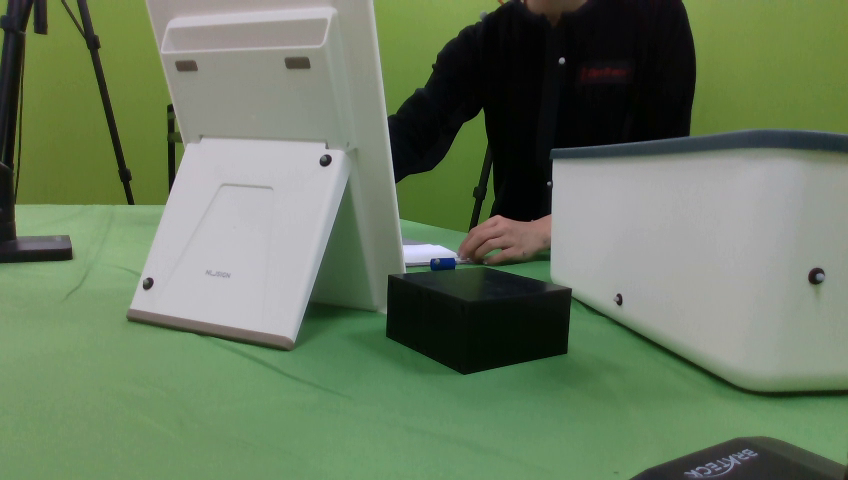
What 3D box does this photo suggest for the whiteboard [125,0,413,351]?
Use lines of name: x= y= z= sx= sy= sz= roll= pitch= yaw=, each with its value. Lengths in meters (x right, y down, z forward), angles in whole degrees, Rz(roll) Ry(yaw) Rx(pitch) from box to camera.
whiteboard: x=-0.151 y=-0.050 z=0.471 sx=0.216 sy=0.305 sz=0.144 roll=6 pitch=27 yaw=24

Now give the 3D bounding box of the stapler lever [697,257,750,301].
stapler lever: x=0.290 y=0.035 z=0.580 sx=0.026 sy=0.040 sz=0.119 roll=29 pitch=19 yaw=34

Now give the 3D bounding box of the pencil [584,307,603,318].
pencil: x=0.250 y=0.054 z=0.656 sx=0.195 sy=0.012 sz=0.012 roll=-14 pitch=14 yaw=-26

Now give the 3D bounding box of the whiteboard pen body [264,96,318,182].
whiteboard pen body: x=-0.136 y=-0.105 z=0.618 sx=0.017 sy=0.017 sz=0.140 roll=4 pitch=46 yaw=12

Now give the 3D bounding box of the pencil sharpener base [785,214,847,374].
pencil sharpener base: x=0.322 y=0.038 z=0.441 sx=0.077 sy=0.107 sz=0.061 roll=1 pitch=8 yaw=-18

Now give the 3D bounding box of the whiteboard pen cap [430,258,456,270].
whiteboard pen cap: x=0.024 y=0.031 z=0.790 sx=0.033 sy=0.018 sz=0.018 roll=1 pitch=8 yaw=-12

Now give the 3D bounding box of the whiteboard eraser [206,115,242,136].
whiteboard eraser: x=-0.438 y=-0.249 z=1.320 sx=0.056 sy=0.042 sz=0.112 roll=-3 pitch=9 yaw=-30

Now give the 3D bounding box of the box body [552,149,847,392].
box body: x=0.290 y=0.002 z=0.549 sx=0.255 sy=0.160 sz=0.363 roll=2 pitch=7 yaw=-10

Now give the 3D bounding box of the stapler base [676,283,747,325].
stapler base: x=0.283 y=0.057 z=0.585 sx=0.041 sy=0.024 sz=0.131 roll=29 pitch=18 yaw=34

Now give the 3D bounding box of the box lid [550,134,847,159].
box lid: x=0.294 y=-0.071 z=0.538 sx=0.264 sy=0.015 sz=0.370 roll=2 pitch=6 yaw=-10
